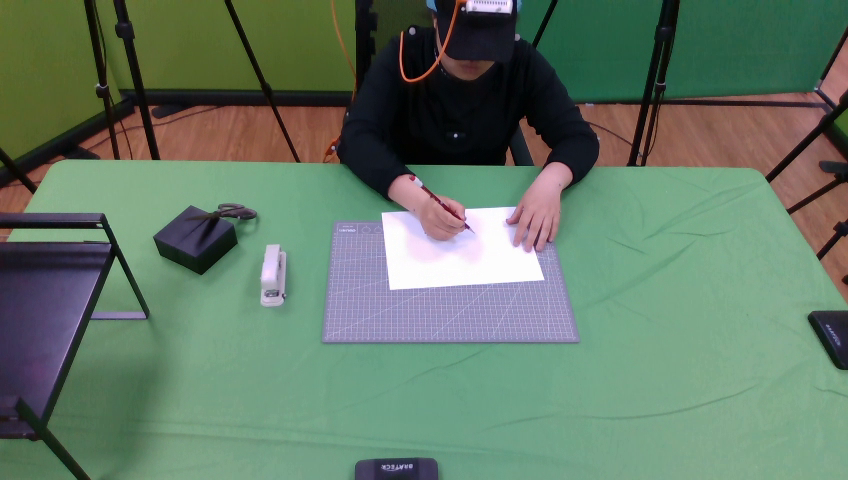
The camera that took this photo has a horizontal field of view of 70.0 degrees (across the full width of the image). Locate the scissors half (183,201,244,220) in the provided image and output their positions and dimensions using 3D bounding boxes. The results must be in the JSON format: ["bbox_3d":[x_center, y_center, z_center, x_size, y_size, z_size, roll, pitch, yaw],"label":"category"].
[{"bbox_3d":[-0.405,-0.054,1.163,0.040,0.013,0.175,30,18,7],"label":"scissors half"}]

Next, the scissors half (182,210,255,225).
[{"bbox_3d":[-0.389,-0.042,1.158,0.040,0.013,0.175,42,21,21],"label":"scissors half"}]

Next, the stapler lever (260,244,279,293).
[{"bbox_3d":[-0.278,0.045,1.096,0.027,0.040,0.117,-1,44,-9],"label":"stapler lever"}]

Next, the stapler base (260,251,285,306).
[{"bbox_3d":[-0.279,0.064,1.113,0.041,0.024,0.129,-1,44,-9],"label":"stapler base"}]

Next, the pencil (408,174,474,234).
[{"bbox_3d":[0.036,-0.064,1.145,0.012,0.195,0.012,-30,38,28],"label":"pencil"}]
